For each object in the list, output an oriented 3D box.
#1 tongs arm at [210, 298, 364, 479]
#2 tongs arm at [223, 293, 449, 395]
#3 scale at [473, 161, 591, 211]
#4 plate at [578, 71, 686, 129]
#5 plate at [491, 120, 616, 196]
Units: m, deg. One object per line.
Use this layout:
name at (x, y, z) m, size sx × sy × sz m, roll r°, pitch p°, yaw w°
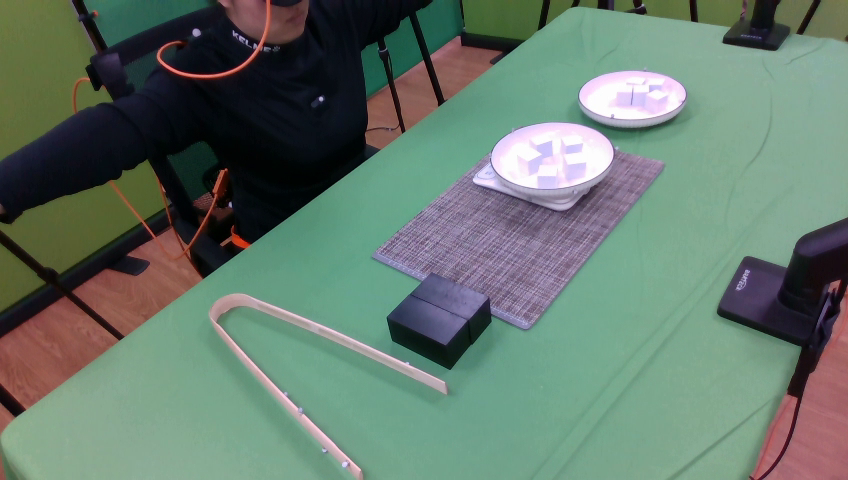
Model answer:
tongs arm at (-0.186, 0.180, 0.794) m, size 0.381 × 0.026 × 0.051 m, roll 28°, pitch 51°, yaw 37°
tongs arm at (-0.134, 0.138, 0.840) m, size 0.385 × 0.028 × 0.028 m, roll 17°, pitch 48°, yaw 28°
scale at (0.202, -0.121, 1.074) m, size 0.199 × 0.032 × 0.149 m, roll 23°, pitch 49°, yaw 33°
plate at (0.416, -0.280, 1.221) m, size 0.209 × 0.038 × 0.208 m, roll -5°, pitch 41°, yaw 5°
plate at (0.220, -0.137, 1.038) m, size 0.207 × 0.039 × 0.206 m, roll -6°, pitch 41°, yaw 5°
